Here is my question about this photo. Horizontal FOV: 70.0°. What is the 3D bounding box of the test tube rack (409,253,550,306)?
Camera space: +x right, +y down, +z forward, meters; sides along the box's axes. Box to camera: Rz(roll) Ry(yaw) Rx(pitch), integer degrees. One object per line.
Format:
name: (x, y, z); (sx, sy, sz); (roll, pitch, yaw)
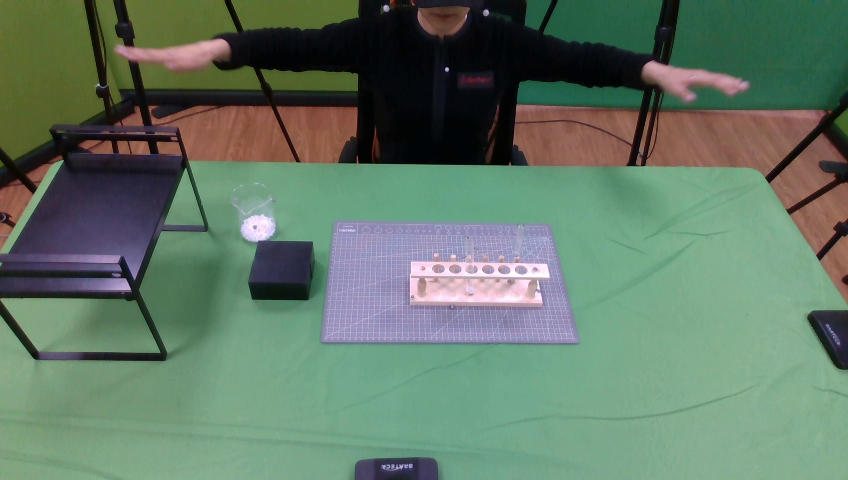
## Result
test tube rack: (0.095, 0.067, 1.093); (0.242, 0.085, 0.066); (1, 47, -3)

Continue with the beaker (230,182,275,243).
beaker: (-0.328, -0.049, 1.166); (0.074, 0.101, 0.083); (2, 47, -2)

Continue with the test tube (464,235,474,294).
test tube: (0.078, 0.046, 1.044); (0.017, 0.151, 0.017); (-2, 49, 2)

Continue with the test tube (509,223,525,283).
test tube: (0.165, 0.024, 1.077); (0.017, 0.151, 0.017); (0, 47, 1)
